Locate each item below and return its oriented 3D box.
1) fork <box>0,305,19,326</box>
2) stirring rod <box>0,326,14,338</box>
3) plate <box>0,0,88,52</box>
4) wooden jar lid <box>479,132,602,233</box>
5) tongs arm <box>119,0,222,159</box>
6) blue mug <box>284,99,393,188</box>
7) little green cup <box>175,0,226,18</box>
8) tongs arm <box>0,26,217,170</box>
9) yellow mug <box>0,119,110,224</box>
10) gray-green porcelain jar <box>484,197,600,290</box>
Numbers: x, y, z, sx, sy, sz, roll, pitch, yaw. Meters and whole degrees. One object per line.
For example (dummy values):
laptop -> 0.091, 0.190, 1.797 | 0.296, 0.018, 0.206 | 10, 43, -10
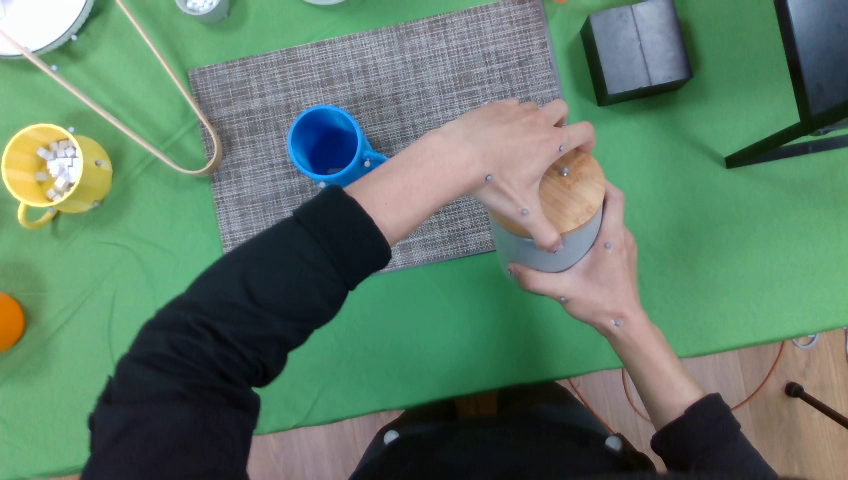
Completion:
fork -> -0.588, 0.089, 0.692 | 0.209, 0.018, 0.028 | 4, 85, -41
stirring rod -> -0.576, 0.105, 0.695 | 0.006, 0.177, 0.014 | -23, 67, 44
plate -> -0.514, -0.337, 0.764 | 0.207, 0.039, 0.207 | 0, 88, 2
wooden jar lid -> 0.104, -0.050, 0.545 | 0.108, 0.021, 0.107 | -4, 59, 7
tongs arm -> -0.362, -0.266, 0.740 | 0.028, 0.027, 0.388 | -36, 94, -8
blue mug -> -0.092, -0.105, 0.705 | 0.116, 0.106, 0.082 | 14, 88, 2
little green cup -> -0.279, -0.309, 0.755 | 0.061, 0.038, 0.061 | 0, 89, 1
tongs arm -> -0.422, -0.207, 0.737 | 0.385, 0.026, 0.051 | 40, 86, -4
yellow mug -> -0.456, -0.077, 0.738 | 0.100, 0.064, 0.131 | 27, 90, 2
gray-green porcelain jar -> 0.118, -0.017, 0.598 | 0.105, 0.128, 0.105 | -6, 58, 11
